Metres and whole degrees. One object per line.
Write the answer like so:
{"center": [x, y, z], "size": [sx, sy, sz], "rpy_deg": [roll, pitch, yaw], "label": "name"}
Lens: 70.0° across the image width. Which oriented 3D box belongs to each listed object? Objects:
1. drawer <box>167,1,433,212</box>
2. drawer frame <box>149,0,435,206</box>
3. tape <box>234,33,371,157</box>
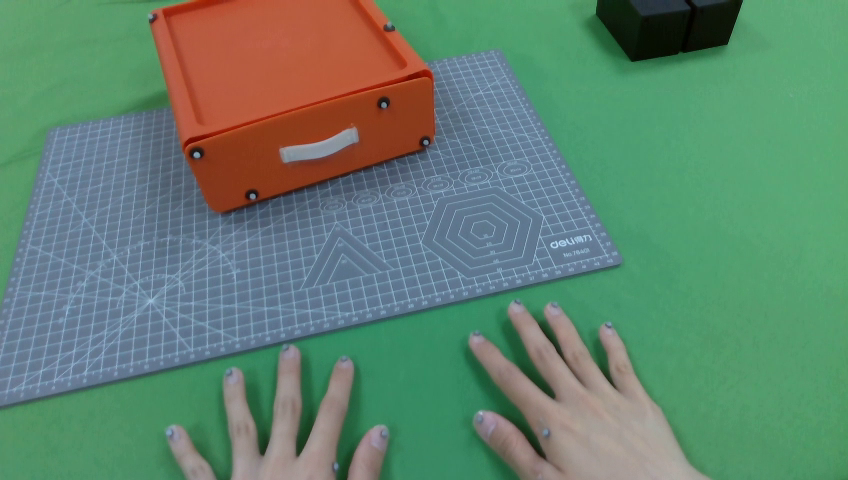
{"center": [-0.121, -0.141, 0.544], "size": [0.195, 0.074, 0.209], "rpy_deg": [-20, 50, -13], "label": "drawer"}
{"center": [-0.124, -0.147, 0.547], "size": [0.202, 0.083, 0.211], "rpy_deg": [-21, 50, -14], "label": "drawer frame"}
{"center": [-0.108, -0.131, 0.539], "size": [0.117, 0.053, 0.115], "rpy_deg": [-1, 51, 2], "label": "tape"}
